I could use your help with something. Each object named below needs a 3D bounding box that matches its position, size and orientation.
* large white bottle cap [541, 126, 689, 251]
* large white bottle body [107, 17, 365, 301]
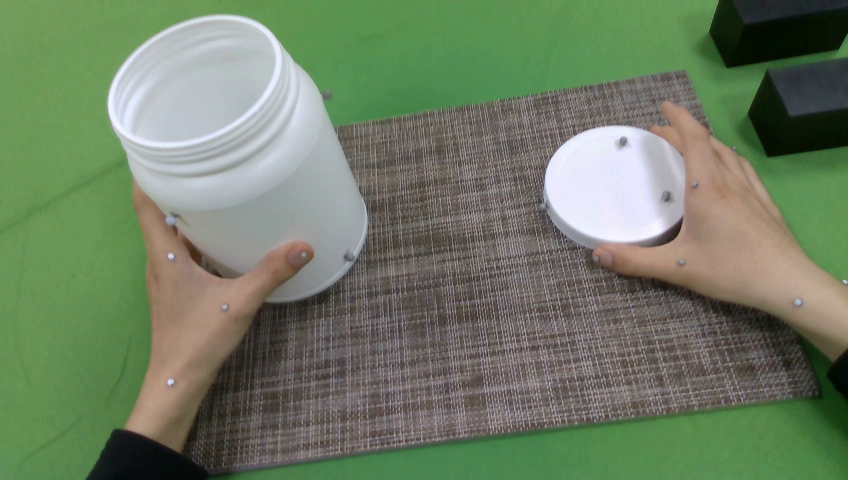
[{"bbox_3d":[0.152,-0.044,0.489,0.115,0.018,0.114,-4,59,7],"label":"large white bottle cap"},{"bbox_3d":[-0.125,-0.050,0.437,0.130,0.186,0.129,-4,59,7],"label":"large white bottle body"}]
